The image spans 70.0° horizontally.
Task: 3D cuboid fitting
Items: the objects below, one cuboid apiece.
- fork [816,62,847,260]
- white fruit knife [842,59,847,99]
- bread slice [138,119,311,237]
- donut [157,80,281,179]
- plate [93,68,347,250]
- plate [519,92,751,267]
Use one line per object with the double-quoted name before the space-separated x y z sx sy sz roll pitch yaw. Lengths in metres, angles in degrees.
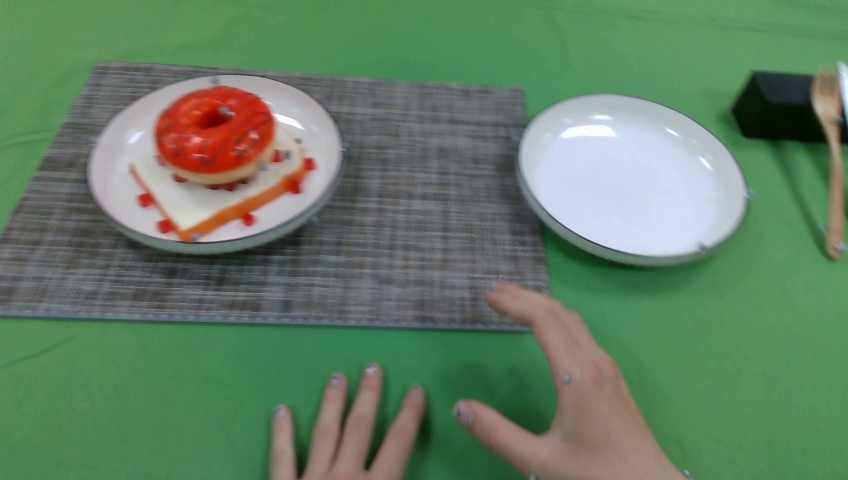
"fork" 0.390 -0.079 0.573 0.028 0.019 0.206 12 70 -3
"white fruit knife" 0.431 -0.089 0.587 0.027 0.016 0.206 4 70 -6
"bread slice" -0.170 -0.067 0.532 0.131 0.019 0.104 -33 63 -25
"donut" -0.169 -0.093 0.503 0.099 0.048 0.098 3 53 -3
"plate" -0.173 -0.072 0.532 0.209 0.038 0.207 3 53 -3
"plate" 0.189 -0.056 0.561 0.208 0.039 0.205 3 53 -3
